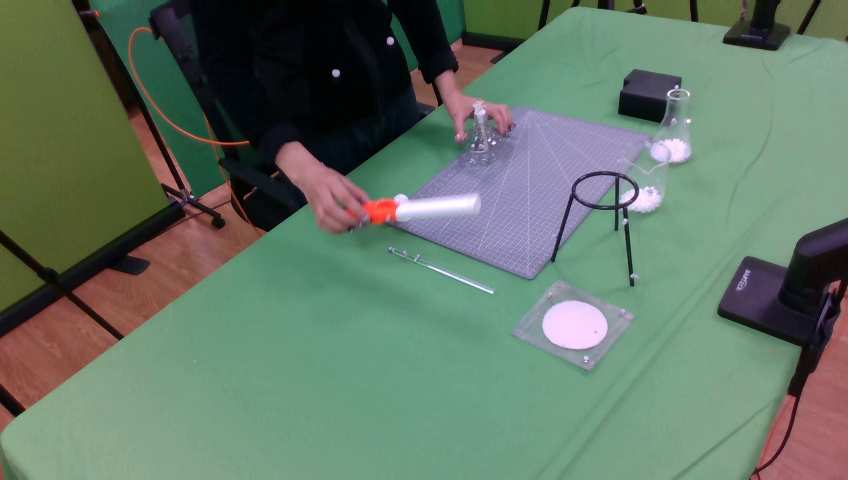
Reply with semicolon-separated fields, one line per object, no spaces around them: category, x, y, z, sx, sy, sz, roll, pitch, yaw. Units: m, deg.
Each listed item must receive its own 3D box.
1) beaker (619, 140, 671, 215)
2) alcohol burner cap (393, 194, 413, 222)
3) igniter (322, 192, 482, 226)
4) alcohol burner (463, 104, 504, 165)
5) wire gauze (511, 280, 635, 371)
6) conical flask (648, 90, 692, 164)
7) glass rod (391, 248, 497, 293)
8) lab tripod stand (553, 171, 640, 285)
beaker;0.352;-0.096;0.971;0.074;0.101;0.084;1;42;13
alcohol burner cap;-0.038;-0.056;1.038;0.034;0.048;0.033;-5;41;5
igniter;-0.044;-0.045;0.906;0.275;0.025;0.057;-4;35;29
alcohol burner;0.109;-0.201;1.126;0.078;0.119;0.077;-5;42;5
wire gauze;0.203;0.114;0.822;0.120;0.011;0.125;25;52;35
conical flask;0.437;-0.199;1.057;0.075;0.122;0.075;-5;40;5
glass rod;0.027;0.045;0.937;0.198;0.008;0.008;21;49;31
lab tripod stand;0.260;-0.025;0.877;0.148;0.132;0.147;-6;38;5
